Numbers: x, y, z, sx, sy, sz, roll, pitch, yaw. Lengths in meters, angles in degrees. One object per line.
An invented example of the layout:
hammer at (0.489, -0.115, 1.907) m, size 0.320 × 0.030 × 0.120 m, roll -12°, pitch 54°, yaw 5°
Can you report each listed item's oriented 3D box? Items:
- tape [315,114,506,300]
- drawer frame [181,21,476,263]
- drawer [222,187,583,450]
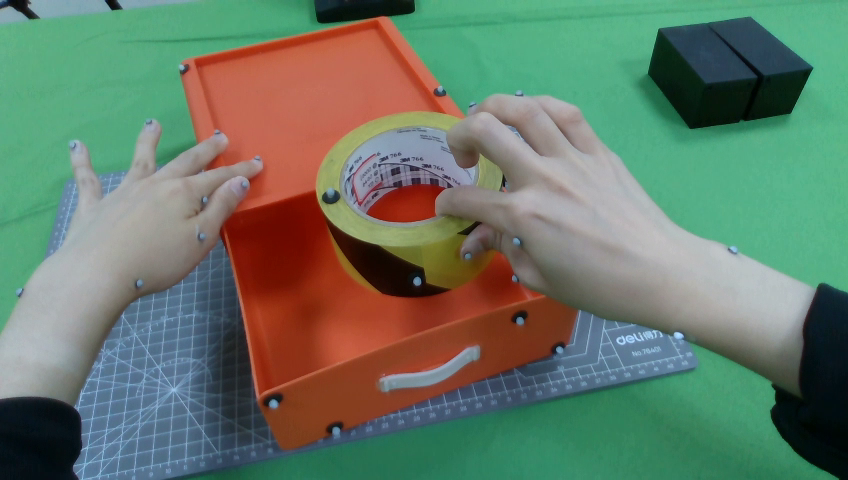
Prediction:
tape at (-0.008, -0.023, 0.374) m, size 0.117 × 0.053 × 0.115 m, roll -2°, pitch 51°, yaw 3°
drawer frame at (-0.082, -0.084, 0.510) m, size 0.202 × 0.083 × 0.211 m, roll -19°, pitch 48°, yaw -14°
drawer at (-0.030, 0.012, 0.422) m, size 0.195 × 0.074 × 0.209 m, roll -17°, pitch 48°, yaw -13°
